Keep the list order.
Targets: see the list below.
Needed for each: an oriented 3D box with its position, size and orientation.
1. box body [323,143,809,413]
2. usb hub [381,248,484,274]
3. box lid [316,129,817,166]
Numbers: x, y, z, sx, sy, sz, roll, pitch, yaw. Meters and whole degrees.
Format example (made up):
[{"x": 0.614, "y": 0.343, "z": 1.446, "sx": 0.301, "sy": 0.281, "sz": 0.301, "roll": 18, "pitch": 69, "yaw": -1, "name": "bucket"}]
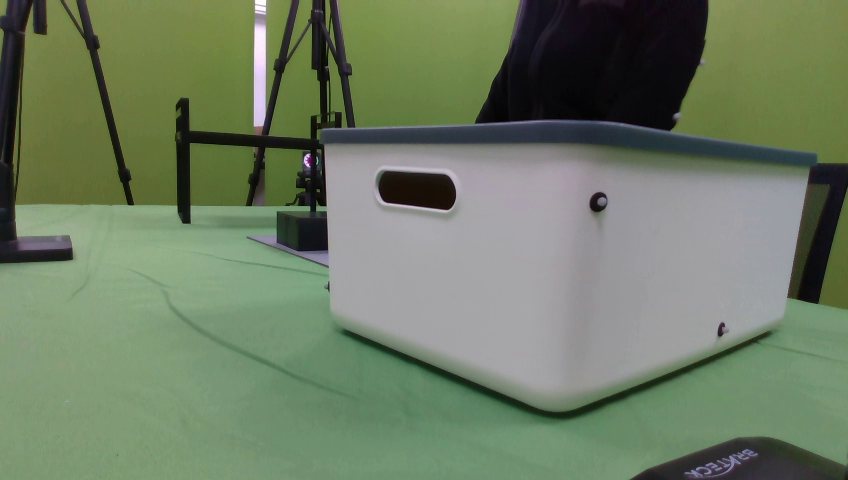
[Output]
[{"x": 0.124, "y": -0.001, "z": 0.510, "sx": 0.366, "sy": 0.160, "sz": 0.253, "roll": -4, "pitch": 10, "yaw": -42, "name": "box body"}, {"x": 0.011, "y": 0.026, "z": 0.774, "sx": 0.126, "sy": 0.025, "sz": 0.049, "roll": 0, "pitch": 7, "yaw": -26, "name": "usb hub"}, {"x": 0.128, "y": -0.074, "z": 0.501, "sx": 0.374, "sy": 0.015, "sz": 0.262, "roll": -5, "pitch": 11, "yaw": -41, "name": "box lid"}]
